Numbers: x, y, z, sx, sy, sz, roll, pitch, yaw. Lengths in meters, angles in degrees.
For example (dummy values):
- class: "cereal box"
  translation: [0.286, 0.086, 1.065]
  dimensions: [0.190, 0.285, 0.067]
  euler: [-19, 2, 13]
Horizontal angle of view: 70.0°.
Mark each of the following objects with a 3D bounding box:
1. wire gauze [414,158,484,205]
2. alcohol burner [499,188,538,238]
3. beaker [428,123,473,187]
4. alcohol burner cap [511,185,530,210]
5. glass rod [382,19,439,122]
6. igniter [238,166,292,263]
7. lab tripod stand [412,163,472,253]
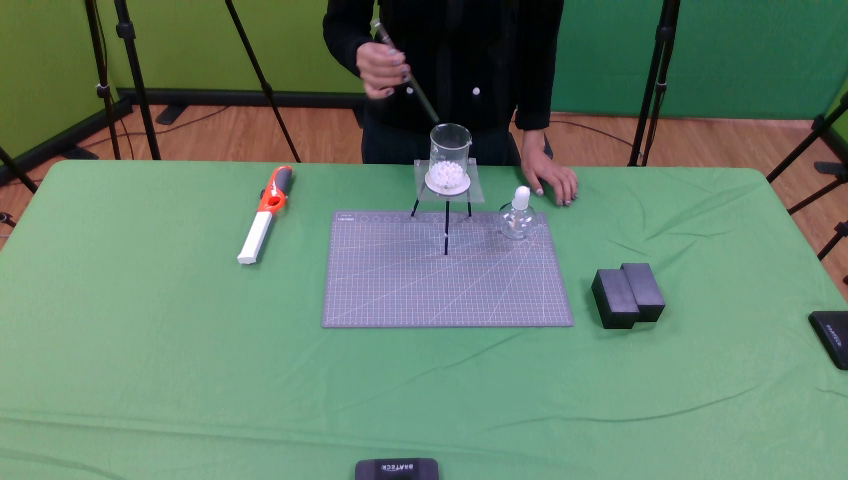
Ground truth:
- class: "wire gauze"
  translation: [0.045, -0.113, 1.137]
  dimensions: [0.125, 0.011, 0.120]
  euler: [1, 48, -6]
- class: "alcohol burner"
  translation: [0.189, -0.060, 1.202]
  dimensions: [0.078, 0.120, 0.077]
  euler: [1, 48, -1]
- class: "beaker"
  translation: [0.044, -0.154, 1.109]
  dimensions: [0.074, 0.101, 0.083]
  euler: [-25, 54, -25]
- class: "alcohol burner cap"
  translation: [0.190, -0.086, 1.176]
  dimensions: [0.034, 0.048, 0.033]
  euler: [3, 50, -3]
- class: "glass rod"
  translation: [-0.019, -0.267, 0.976]
  dimensions: [0.008, 0.201, 0.008]
  euler: [-18, 43, 18]
- class: "igniter"
  translation: [-0.318, -0.060, 1.229]
  dimensions: [0.057, 0.025, 0.275]
  euler: [-2, 45, 10]
- class: "lab tripod stand"
  translation: [0.043, -0.070, 1.187]
  dimensions: [0.148, 0.132, 0.147]
  euler: [3, 47, -3]
